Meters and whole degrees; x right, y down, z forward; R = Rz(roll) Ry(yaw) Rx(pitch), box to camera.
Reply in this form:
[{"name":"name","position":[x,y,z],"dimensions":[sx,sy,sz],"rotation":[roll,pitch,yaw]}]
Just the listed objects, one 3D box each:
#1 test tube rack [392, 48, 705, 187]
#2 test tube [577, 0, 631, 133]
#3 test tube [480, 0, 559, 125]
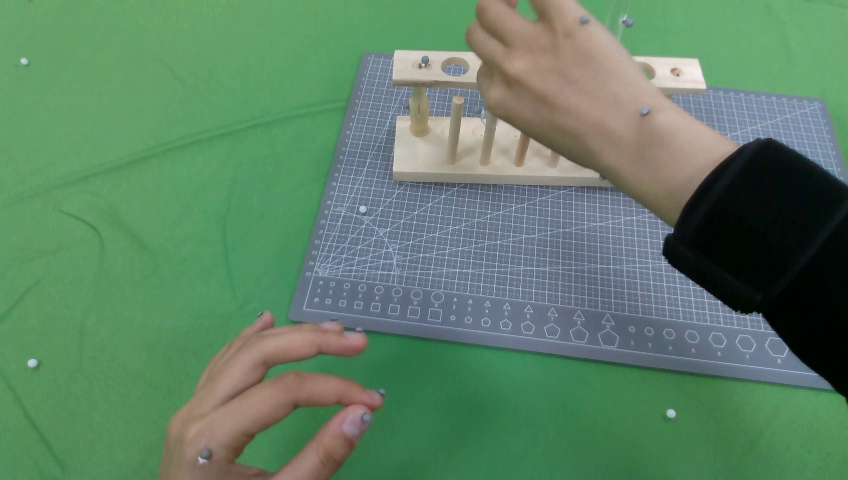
[{"name":"test tube rack","position":[0.096,-0.099,0.500],"dimensions":[0.242,0.086,0.066],"rotation":[2,57,0]},{"name":"test tube","position":[0.140,-0.142,0.469],"dimensions":[0.017,0.151,0.017],"rotation":[0,52,0]},{"name":"test tube","position":[0.068,-0.133,0.416],"dimensions":[0.017,0.151,0.017],"rotation":[7,58,-11]}]
